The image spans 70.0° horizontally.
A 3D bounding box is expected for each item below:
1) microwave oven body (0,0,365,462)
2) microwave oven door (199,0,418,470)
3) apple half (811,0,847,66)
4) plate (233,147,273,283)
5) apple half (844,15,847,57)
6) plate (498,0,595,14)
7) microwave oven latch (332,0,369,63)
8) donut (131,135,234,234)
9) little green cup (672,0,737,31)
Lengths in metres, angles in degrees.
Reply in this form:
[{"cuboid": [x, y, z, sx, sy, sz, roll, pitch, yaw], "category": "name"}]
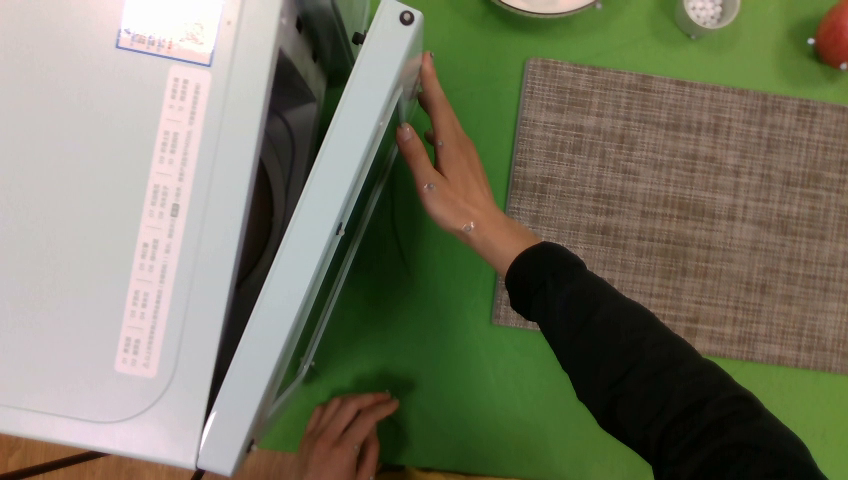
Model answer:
[{"cuboid": [-0.254, -0.083, 0.537, 0.326, 0.260, 0.441, 11, 91, -2], "category": "microwave oven body"}, {"cuboid": [-0.087, -0.004, 0.539, 0.039, 0.243, 0.355, 22, 90, -1], "category": "microwave oven door"}, {"cuboid": [0.453, -0.230, 0.655, 0.053, 0.074, 0.081, 0, 94, 3], "category": "apple half"}, {"cuboid": [-0.251, -0.039, 0.590, 0.209, 0.038, 0.209, 0, 90, -4], "category": "plate"}, {"cuboid": [0.493, -0.231, 0.655, 0.033, 0.081, 0.081, 0, 90, 4], "category": "apple half"}, {"cuboid": [0.131, -0.347, 0.659, 0.208, 0.039, 0.207, 0, 91, -2], "category": "plate"}, {"cuboid": [-0.078, -0.230, 0.636, 0.030, 0.029, 0.079, 14, 91, -2], "category": "microwave oven latch"}, {"cuboid": [-0.232, -0.052, 0.583, 0.099, 0.048, 0.099, 2, 110, 5], "category": "donut"}, {"cuboid": [0.306, -0.262, 0.667, 0.061, 0.038, 0.061, 0, 90, -1], "category": "little green cup"}]
